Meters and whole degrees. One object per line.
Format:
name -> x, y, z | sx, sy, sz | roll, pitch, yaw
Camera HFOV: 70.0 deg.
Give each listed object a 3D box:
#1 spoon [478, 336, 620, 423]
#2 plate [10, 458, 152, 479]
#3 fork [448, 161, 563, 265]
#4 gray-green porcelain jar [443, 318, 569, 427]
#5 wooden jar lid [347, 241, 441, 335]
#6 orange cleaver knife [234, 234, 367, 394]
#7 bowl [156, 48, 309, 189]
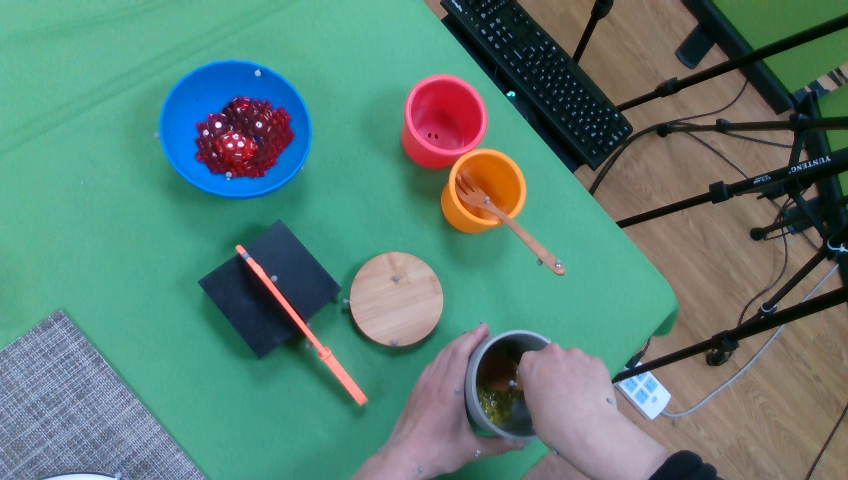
spoon -> 0.117, 0.142, 0.609 | 0.022, 0.192, 0.041 | 8, 97, -31
plate -> -0.327, 0.310, 0.562 | 0.210, 0.038, 0.208 | 3, 79, -13
fork -> 0.087, -0.034, 0.673 | 0.028, 0.019, 0.205 | -23, 42, -18
gray-green porcelain jar -> 0.081, 0.141, 0.651 | 0.106, 0.126, 0.105 | 3, 78, -12
wooden jar lid -> -0.035, 0.055, 0.695 | 0.109, 0.021, 0.108 | 2, 80, -12
orange cleaver knife -> -0.128, 0.080, 0.636 | 0.012, 0.076, 0.213 | -40, 114, -15
bowl -> -0.203, -0.120, 0.658 | 0.152, 0.077, 0.150 | 3, 79, -13
